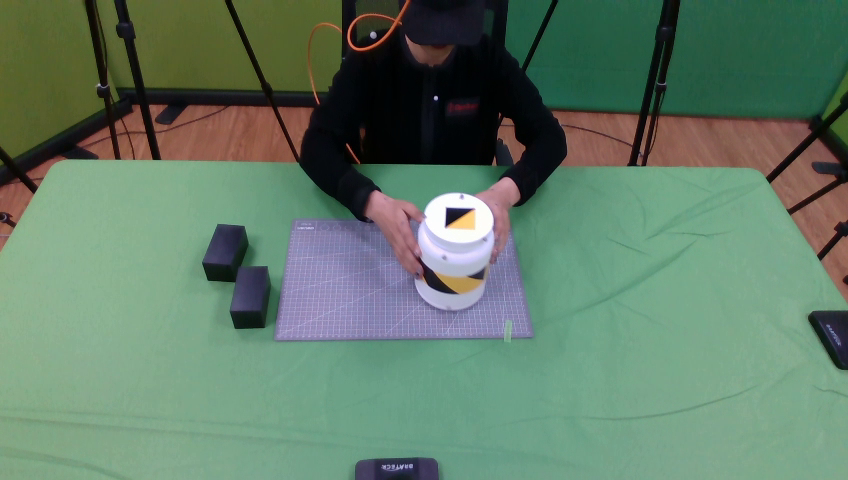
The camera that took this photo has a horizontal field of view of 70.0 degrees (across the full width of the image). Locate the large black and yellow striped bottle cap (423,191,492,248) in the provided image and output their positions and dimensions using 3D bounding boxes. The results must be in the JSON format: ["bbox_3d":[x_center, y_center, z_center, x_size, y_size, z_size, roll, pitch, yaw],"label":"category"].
[{"bbox_3d":[0.055,-0.035,0.998,0.115,0.019,0.114,2,50,-2],"label":"large black and yellow striped bottle cap"}]

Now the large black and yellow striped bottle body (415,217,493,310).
[{"bbox_3d":[0.051,0.021,1.060,0.131,0.185,0.130,2,48,-2],"label":"large black and yellow striped bottle body"}]
